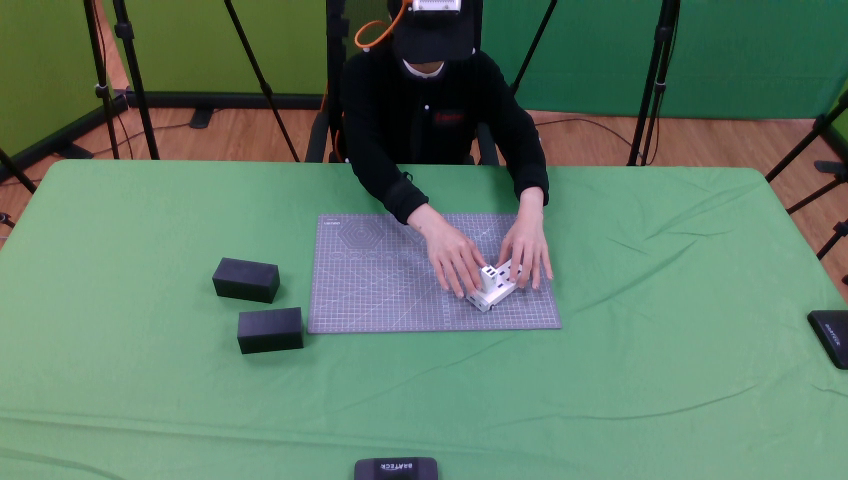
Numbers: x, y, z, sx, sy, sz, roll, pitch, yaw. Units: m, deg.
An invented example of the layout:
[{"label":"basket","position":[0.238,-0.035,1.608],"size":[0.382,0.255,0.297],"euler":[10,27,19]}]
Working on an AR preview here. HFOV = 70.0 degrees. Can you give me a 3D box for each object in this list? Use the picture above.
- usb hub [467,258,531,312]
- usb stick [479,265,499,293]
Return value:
[{"label":"usb hub","position":[0.139,0.083,1.120],"size":[0.125,0.025,0.049],"euler":[-32,57,-30]},{"label":"usb stick","position":[0.115,0.074,1.084],"size":[0.021,0.059,0.027],"euler":[-34,59,-31]}]
